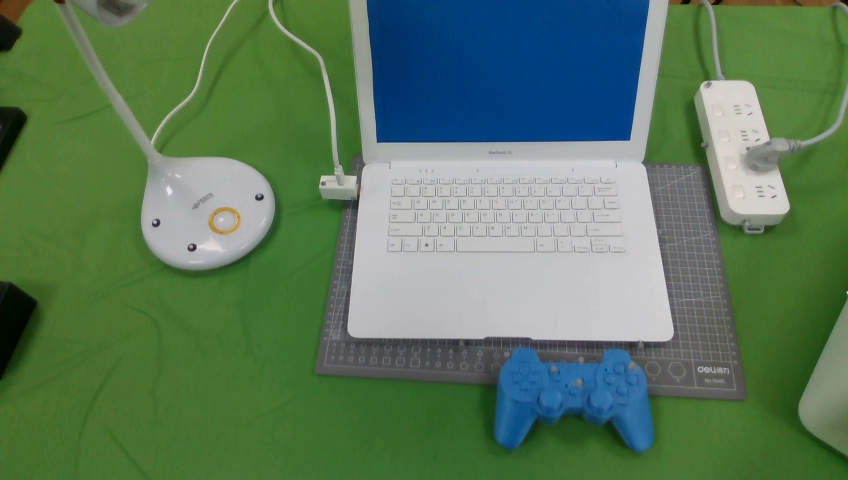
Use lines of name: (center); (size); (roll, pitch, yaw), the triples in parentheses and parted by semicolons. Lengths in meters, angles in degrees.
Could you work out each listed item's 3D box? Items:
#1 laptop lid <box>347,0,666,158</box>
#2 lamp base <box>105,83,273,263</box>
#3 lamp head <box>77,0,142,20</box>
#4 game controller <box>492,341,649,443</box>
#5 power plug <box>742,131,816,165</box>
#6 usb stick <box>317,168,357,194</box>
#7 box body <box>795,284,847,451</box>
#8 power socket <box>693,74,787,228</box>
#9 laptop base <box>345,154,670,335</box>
laptop lid: (0.092, -0.203, 0.707); (0.356, 0.243, 0.013); (-2, 30, 3)
lamp base: (-0.281, -0.086, 0.683); (0.178, 0.182, 0.160); (27, 65, 20)
lamp head: (-0.245, -0.230, 0.414); (0.123, 0.112, 0.112); (29, 64, -8)
game controller: (0.146, 0.150, 0.609); (0.155, 0.052, 0.096); (1, 59, 3)
power plug: (0.416, -0.102, 0.718); (0.072, 0.053, 0.035); (11, 62, 7)
usb stick: (-0.100, -0.072, 0.745); (0.059, 0.027, 0.021); (4, 56, 2)
box body: (0.553, 0.078, 0.564); (0.252, 0.162, 0.363); (33, 68, 19)
power socket: (0.389, -0.120, 0.754); (0.072, 0.033, 0.225); (2, 61, 2)
laptop base: (0.092, 0.000, 0.710); (0.354, 0.023, 0.233); (0, 65, 3)
